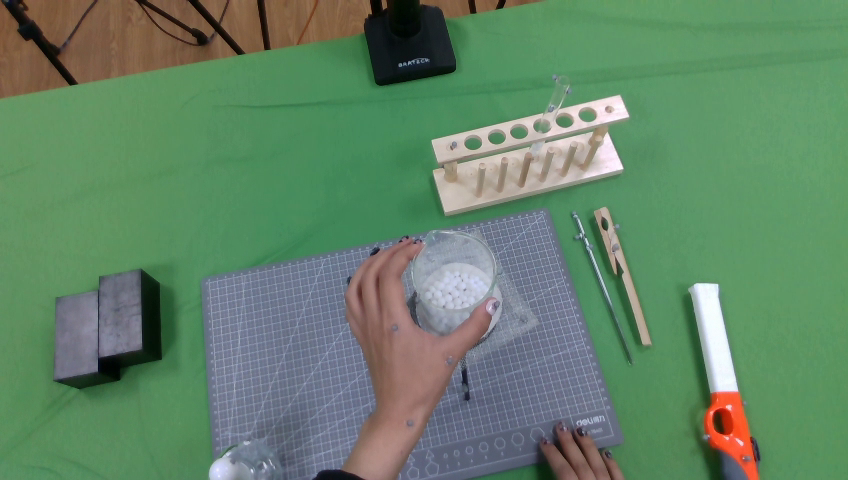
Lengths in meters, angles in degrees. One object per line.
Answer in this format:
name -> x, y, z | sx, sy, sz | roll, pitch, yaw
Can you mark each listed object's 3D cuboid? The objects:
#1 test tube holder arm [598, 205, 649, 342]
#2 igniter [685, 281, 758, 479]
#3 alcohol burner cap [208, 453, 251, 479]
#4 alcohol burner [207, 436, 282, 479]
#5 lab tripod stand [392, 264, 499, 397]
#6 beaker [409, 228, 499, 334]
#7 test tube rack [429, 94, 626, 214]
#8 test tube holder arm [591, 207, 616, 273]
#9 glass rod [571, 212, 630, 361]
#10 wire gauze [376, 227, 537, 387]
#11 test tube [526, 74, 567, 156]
test tube holder arm -> 0.243, 0.038, 0.742 | 0.013, 0.015, 0.177 | -24, 66, 27
igniter -> 0.333, 0.178, 0.677 | 0.057, 0.025, 0.274 | 3, 67, -8
alcohol burner cap -> -0.191, 0.222, 0.585 | 0.034, 0.048, 0.033 | -1, 57, 2
alcohol burner -> -0.188, 0.238, 0.617 | 0.078, 0.120, 0.077 | -1, 65, 3
lab tripod stand -> 0.028, 0.090, 0.662 | 0.148, 0.132, 0.147 | -1, 68, 3
beaker -> 0.026, 0.041, 0.559 | 0.074, 0.101, 0.083 | -27, 68, -7
test tube rack -> 0.132, -0.108, 0.771 | 0.242, 0.086, 0.066 | -14, 67, -4
test tube holder arm -> 0.229, 0.000, 0.761 | 0.010, 0.015, 0.087 | -24, 65, 27
glass rod -> 0.214, 0.052, 0.742 | 0.008, 0.008, 0.198 | -13, 67, -4
wire gauze -> 0.030, 0.062, 0.602 | 0.121, 0.011, 0.124 | -28, 70, -6
test tube -> 0.146, -0.146, 0.733 | 0.017, 0.151, 0.017 | 2, 65, -3
